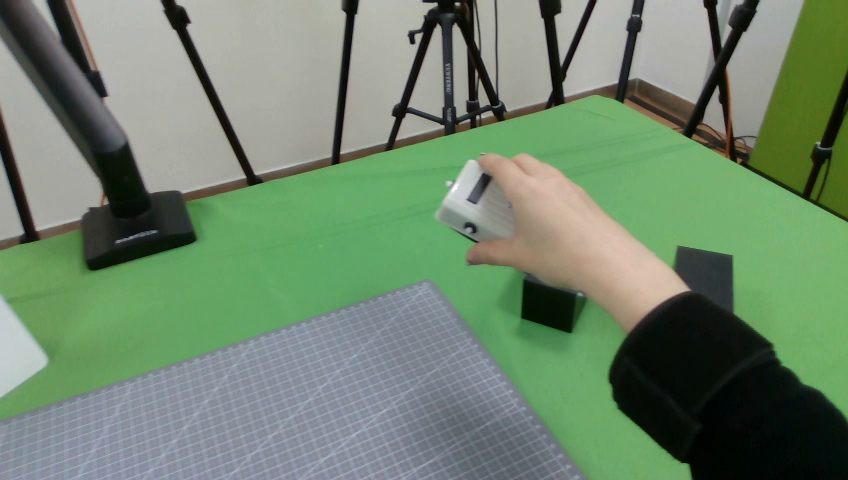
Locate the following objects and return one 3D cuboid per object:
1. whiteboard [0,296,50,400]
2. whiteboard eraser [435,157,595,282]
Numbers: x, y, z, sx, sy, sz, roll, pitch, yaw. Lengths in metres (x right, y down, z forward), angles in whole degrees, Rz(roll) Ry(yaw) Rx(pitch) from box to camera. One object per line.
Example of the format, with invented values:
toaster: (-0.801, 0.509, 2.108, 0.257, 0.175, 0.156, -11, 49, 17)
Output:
whiteboard: (-0.504, 0.039, 0.467, 0.143, 0.308, 0.216, 0, 32, 38)
whiteboard eraser: (0.068, -0.015, 0.458, 0.112, 0.042, 0.055, 27, 54, 4)
